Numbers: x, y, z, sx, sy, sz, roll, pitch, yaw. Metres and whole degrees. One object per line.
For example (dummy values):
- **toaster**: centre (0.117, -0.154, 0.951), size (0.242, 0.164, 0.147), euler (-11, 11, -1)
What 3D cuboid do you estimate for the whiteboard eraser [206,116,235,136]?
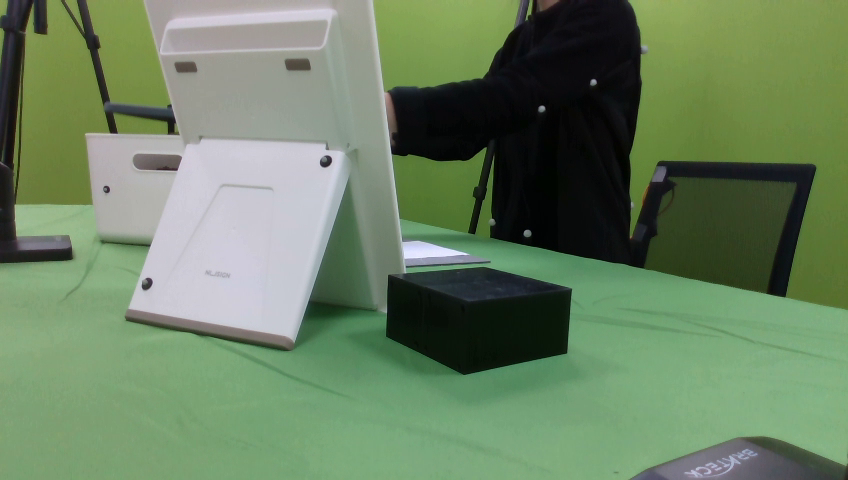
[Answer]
- **whiteboard eraser**: centre (-0.450, -0.252, 1.335), size (0.056, 0.042, 0.112), euler (1, 7, -22)

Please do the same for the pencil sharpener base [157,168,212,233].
- **pencil sharpener base**: centre (-0.405, -0.068, 1.024), size (0.061, 0.107, 0.077), euler (2, 7, 8)

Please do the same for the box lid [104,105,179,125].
- **box lid**: centre (-0.305, -0.186, 0.993), size (0.263, 0.015, 0.371), euler (5, 7, 4)

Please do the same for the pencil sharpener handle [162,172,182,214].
- **pencil sharpener handle**: centre (-0.410, -0.075, 0.972), size (0.036, 0.067, 0.030), euler (-6, 6, 9)

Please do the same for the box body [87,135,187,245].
- **box body**: centre (-0.338, -0.088, 1.022), size (0.254, 0.160, 0.364), euler (3, 7, 9)

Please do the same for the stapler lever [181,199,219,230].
- **stapler lever**: centre (-0.347, -0.040, 0.941), size (0.027, 0.040, 0.118), euler (-1, 9, -4)

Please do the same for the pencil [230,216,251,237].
- **pencil**: centre (-0.332, -0.024, 1.093), size (0.012, 0.012, 0.193), euler (2, 11, -8)

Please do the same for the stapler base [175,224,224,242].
- **stapler base**: centre (-0.348, -0.015, 0.946), size (0.041, 0.024, 0.130), euler (-1, 8, -4)

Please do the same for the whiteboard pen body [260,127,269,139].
- **whiteboard pen body**: centre (-0.366, -0.247, 1.392), size (0.017, 0.017, 0.140), euler (0, 3, -17)

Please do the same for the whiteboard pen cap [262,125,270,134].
- **whiteboard pen cap**: centre (-0.349, -0.244, 1.337), size (0.018, 0.018, 0.033), euler (0, 2, -18)

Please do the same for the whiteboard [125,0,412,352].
- **whiteboard**: centre (-0.151, -0.049, 0.472), size (0.216, 0.305, 0.144), euler (6, 27, 24)
